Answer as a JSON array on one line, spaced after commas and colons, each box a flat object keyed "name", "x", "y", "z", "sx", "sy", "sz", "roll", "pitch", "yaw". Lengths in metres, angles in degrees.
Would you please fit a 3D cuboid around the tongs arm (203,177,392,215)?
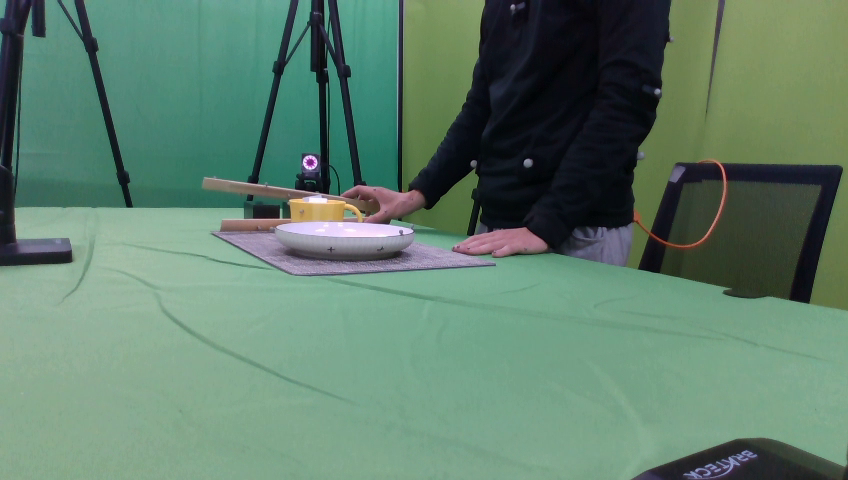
[{"name": "tongs arm", "x": -0.247, "y": -0.083, "z": 1.239, "sx": 0.387, "sy": 0.026, "sz": 0.050, "roll": 5, "pitch": 29, "yaw": -30}]

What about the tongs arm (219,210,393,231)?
[{"name": "tongs arm", "x": -0.210, "y": -0.037, "z": 1.182, "sx": 0.390, "sy": 0.028, "sz": 0.028, "roll": -4, "pitch": 31, "yaw": -41}]

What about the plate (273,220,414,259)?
[{"name": "plate", "x": -0.118, "y": -0.001, "z": 0.903, "sx": 0.208, "sy": 0.039, "sz": 0.207, "roll": 3, "pitch": 7, "yaw": 0}]

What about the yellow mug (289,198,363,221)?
[{"name": "yellow mug", "x": -0.174, "y": -0.039, "z": 1.071, "sx": 0.131, "sy": 0.064, "sz": 0.100, "roll": 3, "pitch": 6, "yaw": 0}]
